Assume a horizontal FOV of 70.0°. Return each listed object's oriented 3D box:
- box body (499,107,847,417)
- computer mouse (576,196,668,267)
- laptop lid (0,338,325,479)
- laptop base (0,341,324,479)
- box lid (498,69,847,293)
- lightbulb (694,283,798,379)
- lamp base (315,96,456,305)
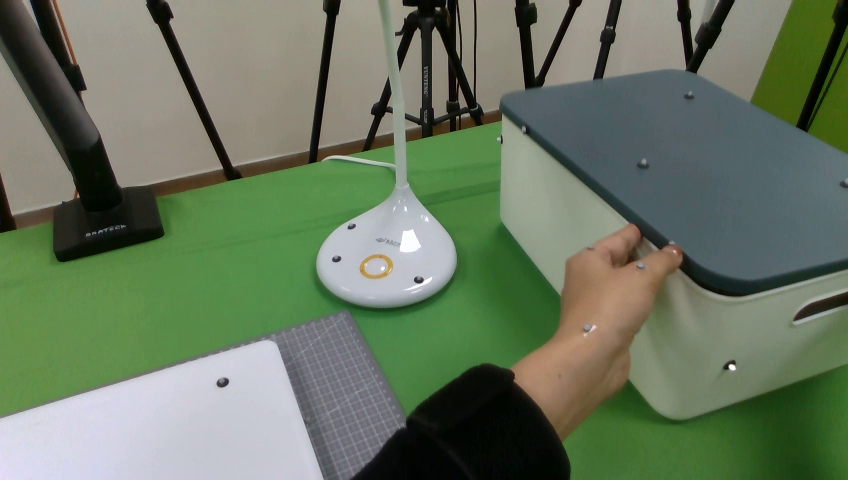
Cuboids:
[{"bbox_3d":[0.257,-0.020,0.627,0.255,0.162,0.359,-12,39,-16],"label":"box body"},{"bbox_3d":[0.233,-0.015,0.715,0.063,0.041,0.116,-10,42,-18],"label":"computer mouse"},{"bbox_3d":[-0.254,0.200,0.432,0.357,0.013,0.239,-14,41,-18],"label":"laptop lid"},{"bbox_3d":[-0.255,0.208,0.441,0.355,0.023,0.232,-15,43,-20],"label":"laptop base"},{"bbox_3d":[0.256,-0.087,0.579,0.264,0.015,0.367,-11,38,-17],"label":"box lid"},{"bbox_3d":[0.306,0.087,0.573,0.059,0.060,0.107,-27,64,-31],"label":"lightbulb"},{"bbox_3d":[-0.043,-0.051,0.653,0.160,0.182,0.178,5,35,7],"label":"lamp base"}]
